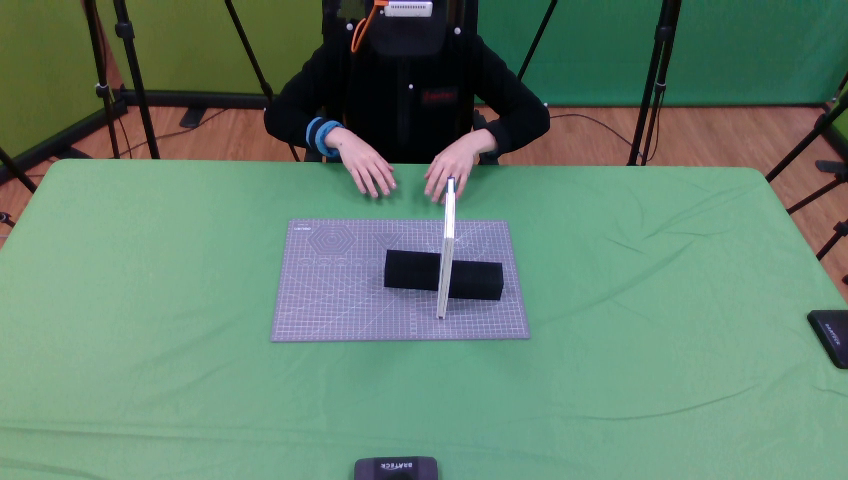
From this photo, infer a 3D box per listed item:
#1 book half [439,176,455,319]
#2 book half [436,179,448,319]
[{"bbox_3d":[0.038,0.017,1.047,0.016,0.211,0.147,3,46,0],"label":"book half"},{"bbox_3d":[0.031,0.019,1.045,0.007,0.211,0.142,4,46,1],"label":"book half"}]
